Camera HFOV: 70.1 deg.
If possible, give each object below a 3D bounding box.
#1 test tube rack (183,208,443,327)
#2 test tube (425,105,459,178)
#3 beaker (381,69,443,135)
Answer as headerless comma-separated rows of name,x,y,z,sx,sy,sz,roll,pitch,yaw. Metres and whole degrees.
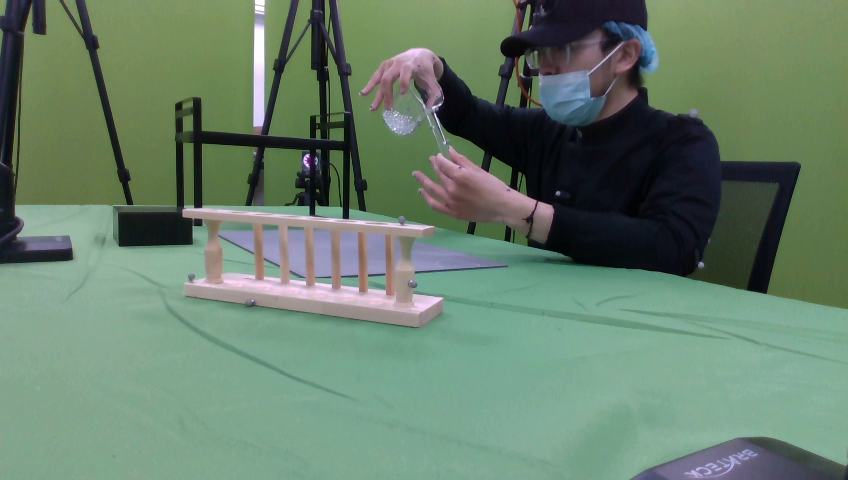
test tube rack,-0.106,0.019,0.570,0.241,0.085,0.067,5,8,19
test tube,0.029,-0.161,0.980,0.017,0.150,0.017,-14,-30,-8
beaker,-0.023,-0.236,1.063,0.074,0.083,0.100,7,-29,-35
